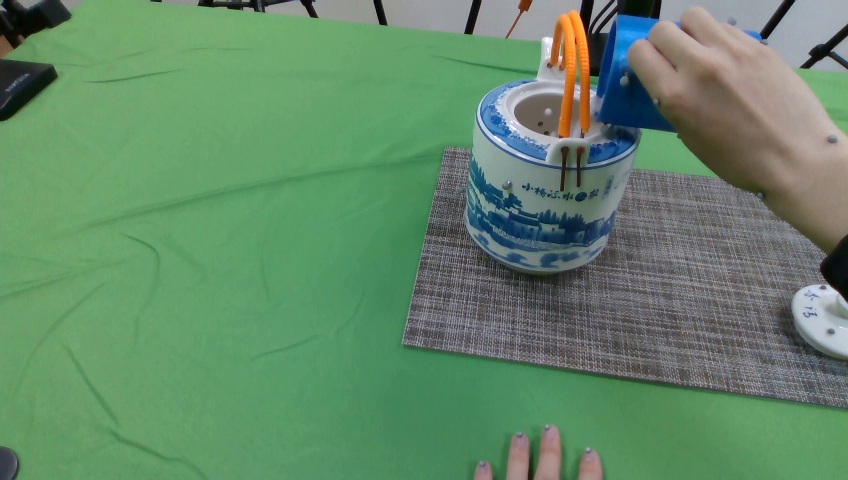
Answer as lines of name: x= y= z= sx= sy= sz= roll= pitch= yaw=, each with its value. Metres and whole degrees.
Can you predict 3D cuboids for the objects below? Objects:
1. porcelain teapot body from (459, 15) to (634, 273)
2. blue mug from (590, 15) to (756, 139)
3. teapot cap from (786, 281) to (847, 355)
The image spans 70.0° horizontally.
porcelain teapot body: x=0.111 y=-0.107 z=0.568 sx=0.145 sy=0.227 sz=0.203 roll=2 pitch=44 yaw=-1
blue mug: x=0.186 y=-0.125 z=0.460 sx=0.106 sy=0.082 sz=0.116 roll=9 pitch=12 yaw=7
teapot cap: x=0.369 y=0.064 z=0.537 sx=0.085 sy=0.044 sz=0.084 roll=4 pitch=43 yaw=-3
